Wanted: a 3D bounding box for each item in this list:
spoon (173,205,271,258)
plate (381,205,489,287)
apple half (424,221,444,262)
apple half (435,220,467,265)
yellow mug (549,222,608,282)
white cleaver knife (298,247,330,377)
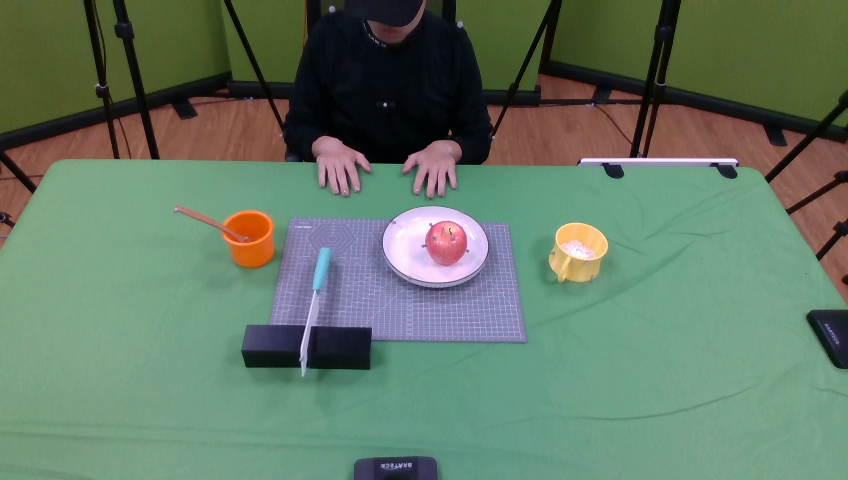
[{"bbox_3d":[-0.362,-0.017,1.098,0.021,0.195,0.041,-32,42,27],"label":"spoon"},{"bbox_3d":[0.021,0.015,1.170,0.209,0.038,0.208,2,46,-2],"label":"plate"},{"bbox_3d":[0.016,0.002,1.145,0.033,0.081,0.081,14,46,2],"label":"apple half"},{"bbox_3d":[0.054,0.009,1.142,0.053,0.075,0.080,14,44,3],"label":"apple half"},{"bbox_3d":[0.287,0.031,1.159,0.099,0.064,0.130,27,51,21],"label":"yellow mug"},{"bbox_3d":[-0.191,0.111,1.037,0.021,0.066,0.285,5,36,-2],"label":"white cleaver knife"}]
